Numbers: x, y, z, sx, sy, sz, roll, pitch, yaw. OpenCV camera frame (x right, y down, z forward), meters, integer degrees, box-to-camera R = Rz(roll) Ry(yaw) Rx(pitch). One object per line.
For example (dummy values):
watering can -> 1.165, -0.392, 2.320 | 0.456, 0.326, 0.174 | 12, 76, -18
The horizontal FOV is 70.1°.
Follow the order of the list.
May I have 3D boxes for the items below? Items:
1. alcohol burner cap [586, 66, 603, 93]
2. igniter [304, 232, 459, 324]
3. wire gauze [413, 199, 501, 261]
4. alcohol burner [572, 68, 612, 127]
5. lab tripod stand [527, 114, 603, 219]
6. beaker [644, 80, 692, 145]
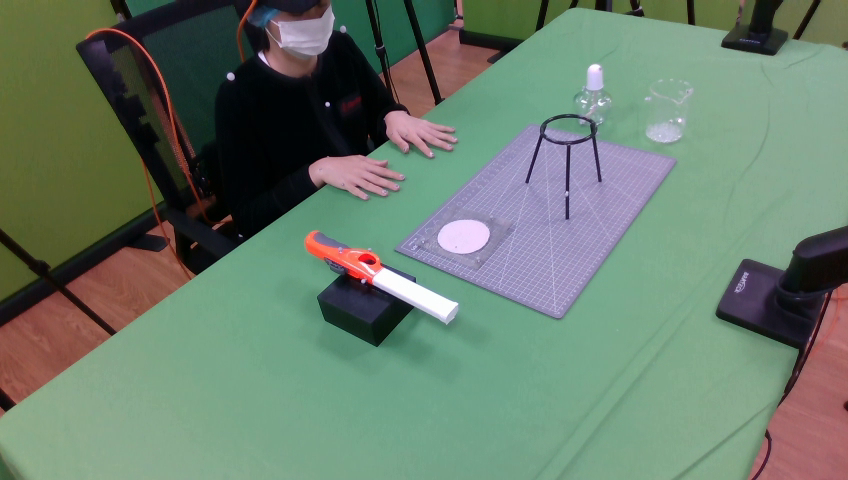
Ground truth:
alcohol burner cap -> 0.330, -0.312, 1.170 | 0.034, 0.048, 0.033 | -8, 38, 7
igniter -> -0.070, 0.048, 0.853 | 0.274, 0.025, 0.057 | 24, 48, 29
wire gauze -> 0.054, -0.016, 0.970 | 0.121, 0.011, 0.125 | 7, 48, 14
alcohol burner -> 0.333, -0.285, 1.192 | 0.078, 0.119, 0.077 | -4, 42, 4
lab tripod stand -> 0.234, -0.129, 1.002 | 0.148, 0.132, 0.147 | -6, 40, 6
beaker -> 0.451, -0.233, 1.122 | 0.074, 0.101, 0.083 | -8, 40, 1
